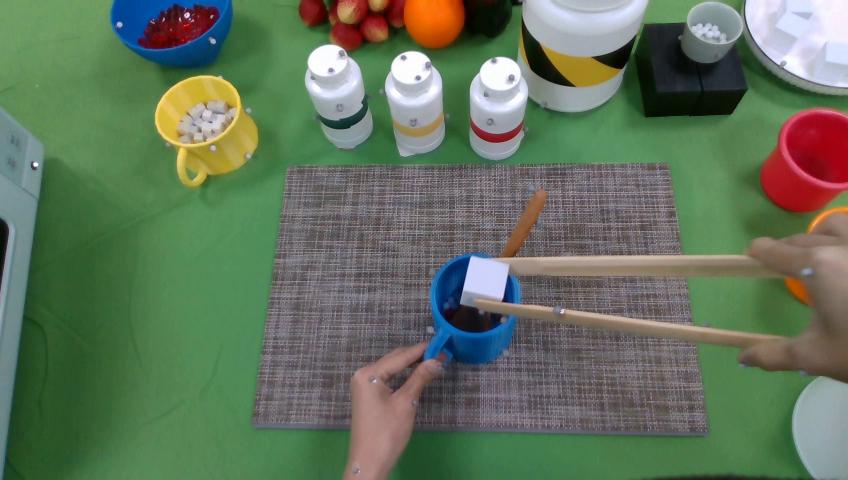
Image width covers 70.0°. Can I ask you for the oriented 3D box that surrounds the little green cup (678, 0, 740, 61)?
[{"bbox_3d":[0.322,-0.237,0.690,0.061,0.039,0.061,0,65,1],"label":"little green cup"}]

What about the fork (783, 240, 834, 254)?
[{"bbox_3d":[0.434,0.036,0.562,0.028,0.019,0.205,-36,25,-11],"label":"fork"}]

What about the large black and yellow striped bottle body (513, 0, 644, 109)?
[{"bbox_3d":[0.171,-0.250,0.681,0.131,0.185,0.130,-1,67,3],"label":"large black and yellow striped bottle body"}]

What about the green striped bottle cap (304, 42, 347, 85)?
[{"bbox_3d":[-0.106,-0.189,0.649,0.044,0.020,0.044,0,67,1],"label":"green striped bottle cap"}]

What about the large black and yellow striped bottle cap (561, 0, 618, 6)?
[{"bbox_3d":[0.165,-0.283,0.604,0.115,0.019,0.114,-1,66,4],"label":"large black and yellow striped bottle cap"}]

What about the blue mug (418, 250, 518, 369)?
[{"bbox_3d":[0.035,0.078,0.587,0.082,0.106,0.116,38,74,18],"label":"blue mug"}]

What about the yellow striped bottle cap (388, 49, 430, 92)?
[{"bbox_3d":[-0.016,-0.180,0.640,0.044,0.019,0.044,-1,68,3],"label":"yellow striped bottle cap"}]

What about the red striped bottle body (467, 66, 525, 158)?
[{"bbox_3d":[0.080,-0.149,0.678,0.063,0.120,0.062,-2,65,5],"label":"red striped bottle body"}]

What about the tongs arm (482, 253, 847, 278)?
[{"bbox_3d":[0.214,0.025,0.392,0.385,0.028,0.028,1,57,32],"label":"tongs arm"}]

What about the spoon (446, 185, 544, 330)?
[{"bbox_3d":[0.065,0.031,0.558,0.041,0.195,0.021,37,39,18],"label":"spoon"}]

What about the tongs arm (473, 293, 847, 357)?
[{"bbox_3d":[0.208,0.044,0.384,0.382,0.027,0.050,6,63,34],"label":"tongs arm"}]

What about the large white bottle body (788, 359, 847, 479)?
[{"bbox_3d":[0.406,0.149,0.495,0.130,0.186,0.129,-1,66,3],"label":"large white bottle body"}]

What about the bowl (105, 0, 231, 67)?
[{"bbox_3d":[-0.314,-0.278,0.779,0.151,0.077,0.150,-1,67,2],"label":"bowl"}]

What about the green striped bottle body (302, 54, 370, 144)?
[{"bbox_3d":[-0.101,-0.168,0.697,0.063,0.120,0.062,-1,67,3],"label":"green striped bottle body"}]

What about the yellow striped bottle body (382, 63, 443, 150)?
[{"bbox_3d":[-0.013,-0.159,0.687,0.063,0.121,0.062,-2,66,4],"label":"yellow striped bottle body"}]

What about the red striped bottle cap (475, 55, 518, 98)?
[{"bbox_3d":[0.075,-0.170,0.630,0.044,0.018,0.044,0,65,0],"label":"red striped bottle cap"}]

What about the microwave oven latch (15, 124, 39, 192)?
[{"bbox_3d":[-0.475,-0.094,0.711,0.030,0.030,0.078,-7,67,0],"label":"microwave oven latch"}]

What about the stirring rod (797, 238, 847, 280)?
[{"bbox_3d":[0.404,0.035,0.572,0.014,0.006,0.175,3,24,1],"label":"stirring rod"}]

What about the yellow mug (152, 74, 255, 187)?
[{"bbox_3d":[-0.264,-0.124,0.716,0.100,0.064,0.130,10,68,6],"label":"yellow mug"}]

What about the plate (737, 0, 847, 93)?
[{"bbox_3d":[0.490,-0.264,0.748,0.209,0.038,0.207,-1,67,3],"label":"plate"}]

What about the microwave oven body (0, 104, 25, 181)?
[{"bbox_3d":[-0.603,0.049,0.552,0.326,0.262,0.438,-9,67,-1],"label":"microwave oven body"}]

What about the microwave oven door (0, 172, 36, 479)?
[{"bbox_3d":[-0.453,0.064,0.532,0.039,0.245,0.353,-9,66,0],"label":"microwave oven door"}]
